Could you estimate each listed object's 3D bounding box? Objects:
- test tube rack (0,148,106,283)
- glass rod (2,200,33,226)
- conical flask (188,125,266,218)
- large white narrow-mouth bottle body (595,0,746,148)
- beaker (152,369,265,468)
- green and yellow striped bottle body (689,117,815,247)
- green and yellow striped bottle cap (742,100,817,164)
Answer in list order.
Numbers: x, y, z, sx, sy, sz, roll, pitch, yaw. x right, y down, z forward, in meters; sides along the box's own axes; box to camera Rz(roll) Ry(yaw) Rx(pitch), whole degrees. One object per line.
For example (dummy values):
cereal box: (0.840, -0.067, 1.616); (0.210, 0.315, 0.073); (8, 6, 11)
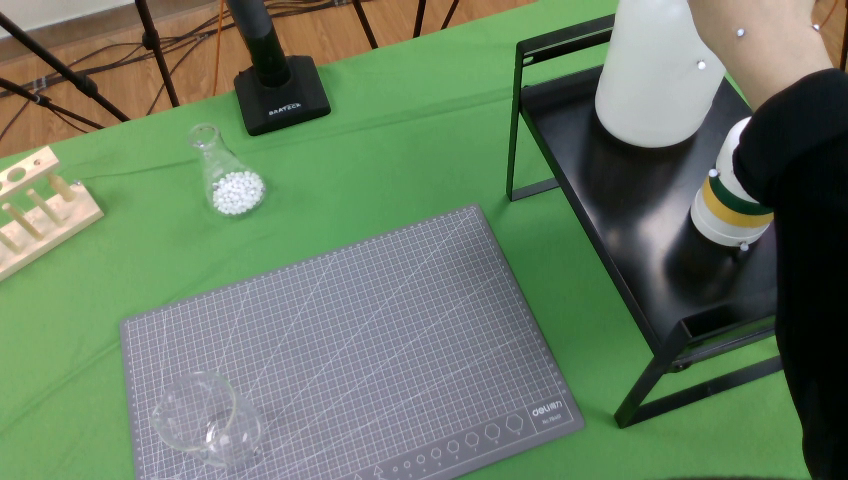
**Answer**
test tube rack: (-0.532, -0.003, 0.736); (0.242, 0.086, 0.066); (-38, 64, -17)
glass rod: (-0.521, -0.078, 0.703); (0.008, 0.202, 0.008); (-5, 52, 6)
conical flask: (-0.248, -0.088, 0.745); (0.075, 0.123, 0.074); (-2, 59, 4)
large white narrow-mouth bottle body: (0.209, -0.172, 0.509); (0.102, 0.196, 0.101); (-2, 60, 4)
beaker: (-0.206, 0.180, 0.595); (0.084, 0.101, 0.073); (-10, 59, -1)
green and yellow striped bottle body: (0.258, -0.050, 0.477); (0.063, 0.121, 0.062); (-2, 59, 4)
green and yellow striped bottle cap: (0.254, -0.078, 0.433); (0.045, 0.020, 0.045); (-2, 61, 3)
